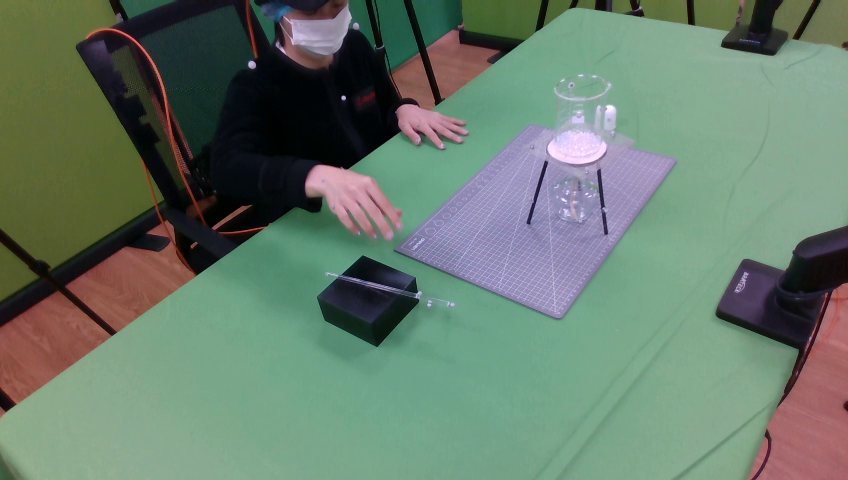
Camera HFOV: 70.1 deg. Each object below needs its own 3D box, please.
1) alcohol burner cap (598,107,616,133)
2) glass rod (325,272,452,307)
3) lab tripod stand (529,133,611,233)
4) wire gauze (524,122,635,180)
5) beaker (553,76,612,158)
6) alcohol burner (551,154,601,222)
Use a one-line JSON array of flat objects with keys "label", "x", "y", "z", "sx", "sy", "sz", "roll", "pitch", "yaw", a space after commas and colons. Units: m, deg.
[{"label": "alcohol burner cap", "x": 0.361, "y": -0.239, "z": 1.189, "sx": 0.034, "sy": 0.048, "sz": 0.033, "roll": -4, "pitch": 40, "yaw": 4}, {"label": "glass rod", "x": -0.053, "y": 0.068, "z": 0.839, "sx": 0.198, "sy": 0.008, "sz": 0.008, "roll": 12, "pitch": 44, "yaw": 23}, {"label": "lab tripod stand", "x": 0.236, "y": -0.089, "z": 0.953, "sx": 0.148, "sy": 0.132, "sz": 0.147, "roll": -5, "pitch": 41, "yaw": 5}, {"label": "wire gauze", "x": 0.233, "y": -0.141, "z": 0.913, "sx": 0.122, "sy": 0.011, "sz": 0.124, "roll": -31, "pitch": 42, "yaw": -26}, {"label": "beaker", "x": 0.230, "y": -0.178, "z": 0.882, "sx": 0.084, "sy": 0.101, "sz": 0.073, "roll": -9, "pitch": 41, "yaw": 1}, {"label": "alcohol burner", "x": 0.244, "y": -0.087, "z": 0.966, "sx": 0.078, "sy": 0.119, "sz": 0.077, "roll": -3, "pitch": 40, "yaw": 3}]
